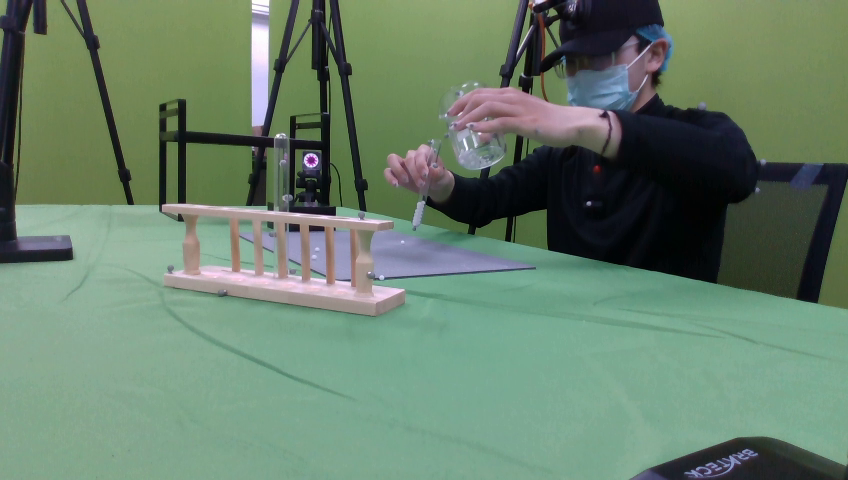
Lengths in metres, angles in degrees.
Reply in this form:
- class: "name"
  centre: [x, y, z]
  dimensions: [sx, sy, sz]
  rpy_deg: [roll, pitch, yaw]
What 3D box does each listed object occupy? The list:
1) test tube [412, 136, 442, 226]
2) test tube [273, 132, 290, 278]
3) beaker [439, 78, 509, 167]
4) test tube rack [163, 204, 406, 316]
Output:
- class: "test tube"
  centre: [0.004, -0.089, 0.944]
  dimensions: [0.017, 0.150, 0.017]
  rpy_deg: [12, 25, -5]
- class: "test tube"
  centre: [-0.146, -0.034, 0.617]
  dimensions: [0.017, 0.150, 0.017]
  rpy_deg: [2, 8, 0]
- class: "beaker"
  centre: [0.067, -0.155, 0.819]
  dimensions: [0.084, 0.100, 0.074]
  rpy_deg: [-24, -22, 22]
- class: "test tube rack"
  centre: [-0.141, 0.013, 0.601]
  dimensions: [0.241, 0.085, 0.067]
  rpy_deg: [5, 8, 21]
